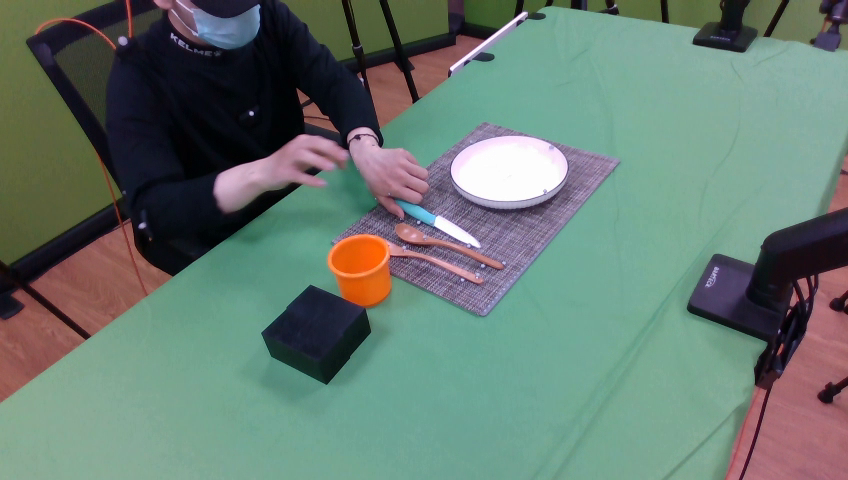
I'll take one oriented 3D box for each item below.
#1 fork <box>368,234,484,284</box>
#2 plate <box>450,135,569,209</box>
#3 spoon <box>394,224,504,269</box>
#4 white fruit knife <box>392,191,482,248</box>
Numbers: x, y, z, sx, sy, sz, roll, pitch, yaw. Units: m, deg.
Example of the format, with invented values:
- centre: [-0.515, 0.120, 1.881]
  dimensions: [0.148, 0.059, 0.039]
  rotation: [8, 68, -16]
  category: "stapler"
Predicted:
- centre: [0.001, 0.030, 0.930]
  dimensions: [0.206, 0.019, 0.028]
  rotation: [18, 41, 28]
  category: "fork"
- centre: [0.149, -0.117, 1.065]
  dimensions: [0.209, 0.038, 0.208]
  rotation: [-4, 41, 4]
  category: "plate"
- centre: [0.037, 0.010, 0.945]
  dimensions: [0.192, 0.022, 0.042]
  rotation: [17, 28, 26]
  category: "spoon"
- centre: [0.017, -0.034, 1.003]
  dimensions: [0.205, 0.016, 0.027]
  rotation: [31, 65, 34]
  category: "white fruit knife"
